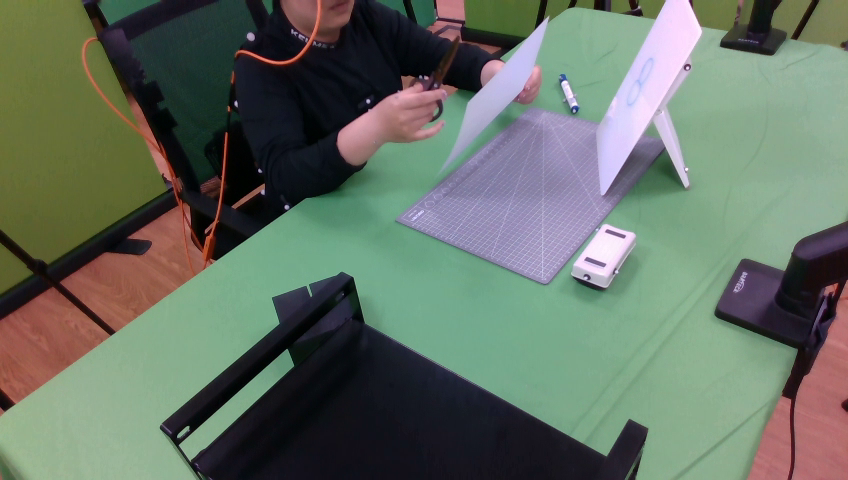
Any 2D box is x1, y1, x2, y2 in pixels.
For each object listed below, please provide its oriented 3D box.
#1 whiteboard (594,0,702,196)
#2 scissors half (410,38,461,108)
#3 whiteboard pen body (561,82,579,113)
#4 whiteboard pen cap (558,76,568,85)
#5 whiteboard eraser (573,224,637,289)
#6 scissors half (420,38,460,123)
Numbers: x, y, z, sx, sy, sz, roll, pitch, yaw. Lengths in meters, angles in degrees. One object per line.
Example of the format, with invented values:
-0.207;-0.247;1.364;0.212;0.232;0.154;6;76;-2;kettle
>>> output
0.421;-0.227;1.010;0.144;0.305;0.216;18;42;-2;whiteboard
0.017;-0.262;0.948;0.013;0.174;0.040;-27;86;-32;scissors half
0.310;-0.312;1.297;0.017;0.017;0.140;-6;41;2;whiteboard pen body
0.310;-0.350;1.341;0.018;0.018;0.033;-6;41;2;whiteboard pen cap
0.267;0.025;0.891;0.055;0.042;0.113;19;47;31;whiteboard eraser
0.028;-0.246;0.945;0.013;0.175;0.040;-34;72;-32;scissors half
